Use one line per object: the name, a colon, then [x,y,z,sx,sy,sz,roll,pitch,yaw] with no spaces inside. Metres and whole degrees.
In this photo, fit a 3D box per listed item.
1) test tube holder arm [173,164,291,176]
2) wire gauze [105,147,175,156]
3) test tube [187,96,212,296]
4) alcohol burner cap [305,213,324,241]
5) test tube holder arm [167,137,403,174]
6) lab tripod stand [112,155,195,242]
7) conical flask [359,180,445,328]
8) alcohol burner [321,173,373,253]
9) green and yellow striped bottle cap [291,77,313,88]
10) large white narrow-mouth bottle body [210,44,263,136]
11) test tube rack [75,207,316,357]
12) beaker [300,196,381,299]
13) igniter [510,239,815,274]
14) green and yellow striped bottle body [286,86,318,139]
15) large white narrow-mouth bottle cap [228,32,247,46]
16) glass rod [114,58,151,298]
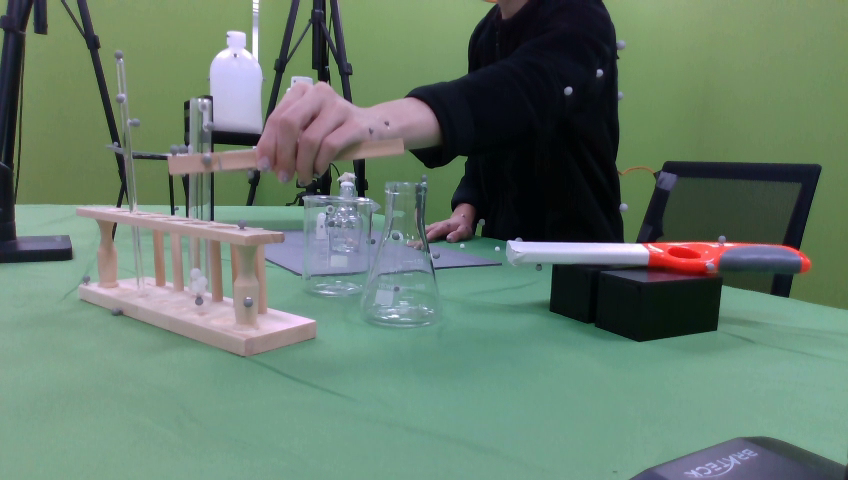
test tube holder arm: [-0.147,-0.060,0.463,0.088,0.015,0.010,-7,4,-8]
wire gauze: [-0.408,-0.131,0.929,0.125,0.011,0.121,2,6,-11]
test tube: [-0.170,-0.032,0.457,0.017,0.150,0.017,3,5,0]
alcohol burner cap: [-0.185,-0.023,1.027,0.034,0.048,0.034,3,6,0]
test tube holder arm: [-0.102,-0.066,0.468,0.179,0.015,0.013,-7,4,-16]
lab tripod stand: [-0.405,-0.064,0.931,0.148,0.131,0.148,1,6,0]
conical flask: [-0.017,0.010,0.522,0.075,0.122,0.075,2,7,0]
alcohol burner: [-0.115,-0.040,0.905,0.078,0.119,0.078,0,6,0]
green and yellow striped bottle cap: [-0.250,-0.321,1.237,0.045,0.020,0.045,3,5,0]
large white narrow-mouth bottle body: [-0.369,-0.305,1.193,0.102,0.194,0.102,3,8,0]
test tube rack: [-0.196,0.023,0.499,0.241,0.085,0.067,8,9,36]
beaker: [-0.087,0.006,0.626,0.084,0.100,0.074,1,8,-17]
igniter: [0.220,0.015,0.565,0.277,0.025,0.057,2,17,-1]
green and yellow striped bottle body: [-0.251,-0.270,1.245,0.063,0.119,0.063,3,7,0]
large white narrow-mouth bottle cap: [-0.364,-0.390,1.180,0.038,0.024,0.037,4,8,0]
glass rod: [-0.236,-0.044,0.492,0.008,0.199,0.008,0,16,0]
